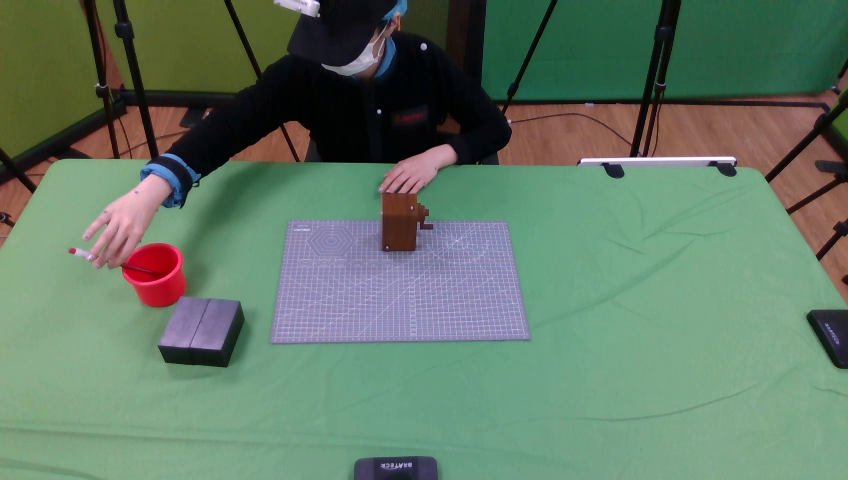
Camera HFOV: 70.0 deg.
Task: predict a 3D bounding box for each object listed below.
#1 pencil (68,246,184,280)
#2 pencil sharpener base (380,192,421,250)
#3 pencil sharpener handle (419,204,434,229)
[{"bbox_3d":[-0.498,0.043,1.028,0.195,0.012,0.012,24,31,-41],"label":"pencil"},{"bbox_3d":[-0.046,-0.035,1.163,0.077,0.107,0.061,0,46,-4],"label":"pencil sharpener base"},{"bbox_3d":[0.006,-0.045,1.160,0.031,0.068,0.036,0,52,-4],"label":"pencil sharpener handle"}]
